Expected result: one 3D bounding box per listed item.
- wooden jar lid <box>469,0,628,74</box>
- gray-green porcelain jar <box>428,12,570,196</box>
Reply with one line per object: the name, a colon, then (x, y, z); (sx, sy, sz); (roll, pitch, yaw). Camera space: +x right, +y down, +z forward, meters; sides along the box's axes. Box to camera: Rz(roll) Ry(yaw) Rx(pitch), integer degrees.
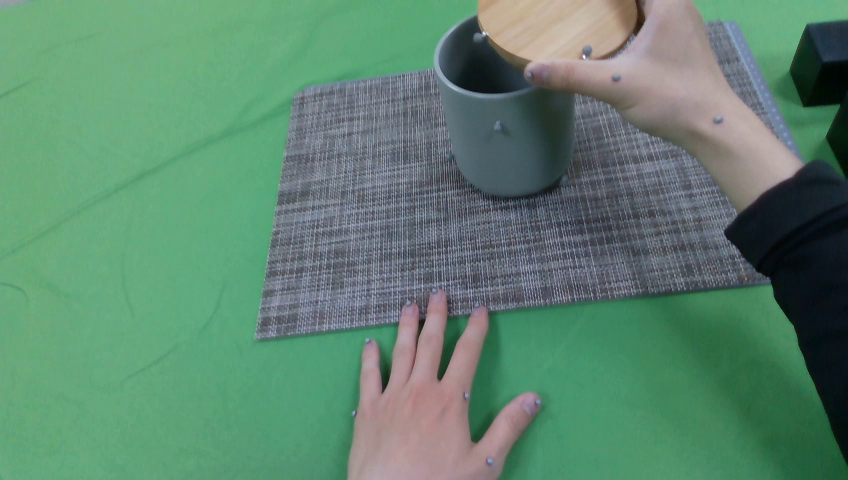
wooden jar lid: (0.085, -0.156, 0.421); (0.108, 0.021, 0.107); (-1, 62, 3)
gray-green porcelain jar: (0.066, -0.107, 0.497); (0.106, 0.128, 0.105); (-6, 54, 9)
